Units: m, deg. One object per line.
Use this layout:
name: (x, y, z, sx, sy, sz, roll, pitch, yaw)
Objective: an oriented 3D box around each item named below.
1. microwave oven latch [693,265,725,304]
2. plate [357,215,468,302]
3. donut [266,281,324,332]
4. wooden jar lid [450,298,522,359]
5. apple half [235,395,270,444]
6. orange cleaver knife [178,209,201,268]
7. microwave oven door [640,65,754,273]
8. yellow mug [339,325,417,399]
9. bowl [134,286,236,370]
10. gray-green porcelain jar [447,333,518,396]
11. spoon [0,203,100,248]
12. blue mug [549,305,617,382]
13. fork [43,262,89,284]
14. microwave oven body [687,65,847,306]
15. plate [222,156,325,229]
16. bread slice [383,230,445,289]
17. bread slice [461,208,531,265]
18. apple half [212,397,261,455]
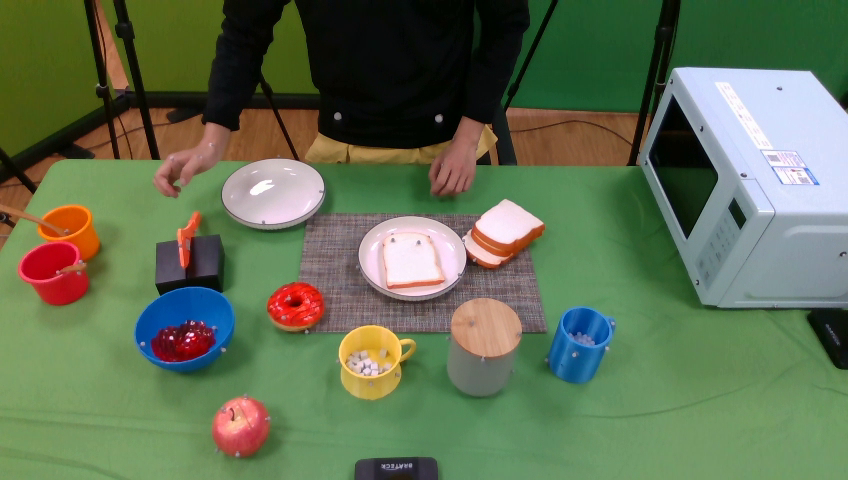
microwave oven latch: (0.523, 0.081, 1.115, 0.030, 0.029, 0.078, 2, 46, -1)
plate: (-0.022, 0.037, 1.141, 0.208, 0.039, 0.206, 2, 46, -2)
donut: (-0.222, 0.114, 1.049, 0.099, 0.048, 0.098, 2, 45, -2)
wooden jar lid: (0.093, 0.135, 0.914, 0.108, 0.021, 0.107, 2, 48, -3)
apple half: (-0.245, 0.259, 0.893, 0.033, 0.082, 0.081, -29, 55, -22)
orange cleaver knife: (-0.432, -0.006, 1.127, 0.012, 0.077, 0.210, -6, 18, -10)
microwave oven door: (0.523, -0.147, 1.193, 0.039, 0.245, 0.353, 0, 47, -3)
yellow mug: (-0.072, 0.190, 0.978, 0.131, 0.064, 0.099, -17, 49, -20)
bowl: (-0.377, 0.155, 0.981, 0.151, 0.077, 0.150, 2, 46, -2)
gray-green porcelain jar: (0.091, 0.178, 0.960, 0.106, 0.127, 0.105, 2, 46, -2)
spoon: (-0.683, -0.031, 1.088, 0.195, 0.021, 0.041, 33, 33, -38)
blue mug: (0.269, 0.166, 0.998, 0.116, 0.106, 0.082, -19, 51, -21)
fork: (-0.599, 0.053, 1.013, 0.207, 0.019, 0.028, -14, 30, 45)
microwave oven body: (0.669, -0.111, 1.176, 0.326, 0.261, 0.439, 0, 46, -3)
plate: (-0.308, -0.095, 1.251, 0.209, 0.038, 0.208, 3, 47, -3)
bread slice: (-0.028, 0.035, 1.145, 0.107, 0.018, 0.133, -7, 48, -11)
bread slice: (0.133, -0.004, 1.193, 0.104, 0.019, 0.131, 30, 51, 23)
apple half: (-0.276, 0.276, 0.877, 0.053, 0.075, 0.080, -29, 58, -21)
